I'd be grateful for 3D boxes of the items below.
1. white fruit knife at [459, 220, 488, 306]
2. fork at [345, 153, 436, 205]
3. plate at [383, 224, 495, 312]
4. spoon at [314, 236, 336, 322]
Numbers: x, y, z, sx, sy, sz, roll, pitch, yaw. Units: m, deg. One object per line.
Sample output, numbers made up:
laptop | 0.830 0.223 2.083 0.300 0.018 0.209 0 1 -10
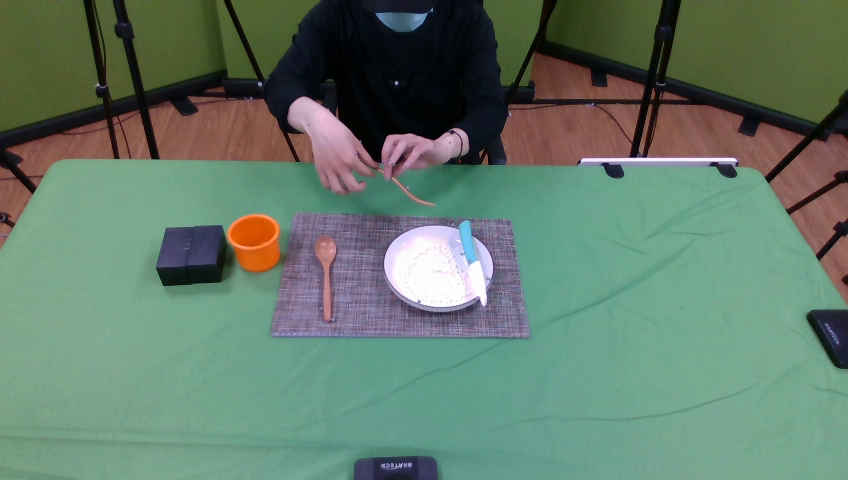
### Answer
white fruit knife | 0.091 0.039 1.118 0.027 0.016 0.206 -1 47 -11
fork | -0.066 -0.118 1.166 0.207 0.018 0.028 34 16 12
plate | 0.026 0.055 1.128 0.209 0.038 0.208 2 46 -2
spoon | -0.180 0.068 1.111 0.042 0.022 0.192 9 43 -20
